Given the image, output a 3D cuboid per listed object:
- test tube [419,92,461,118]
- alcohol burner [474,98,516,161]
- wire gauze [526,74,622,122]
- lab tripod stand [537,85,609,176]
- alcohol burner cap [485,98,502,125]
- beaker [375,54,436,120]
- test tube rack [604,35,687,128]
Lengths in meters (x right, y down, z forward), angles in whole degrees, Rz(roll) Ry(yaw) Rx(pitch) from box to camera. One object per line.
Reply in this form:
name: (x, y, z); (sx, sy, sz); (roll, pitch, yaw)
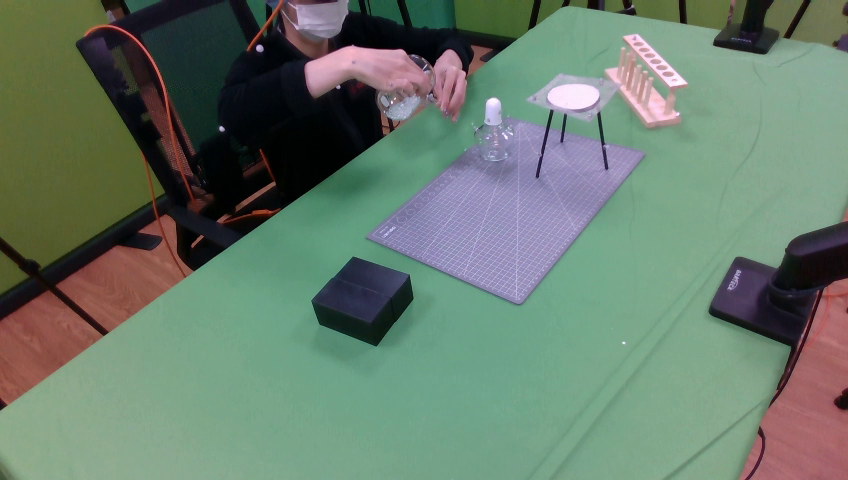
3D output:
test tube: (0.033, -0.255, 1.145); (0.017, 0.017, 0.151); (19, 7, 28)
alcohol burner: (0.131, -0.208, 1.121); (0.078, 0.119, 0.077); (-6, 40, 5)
wire gauze: (0.255, -0.248, 1.030); (0.124, 0.011, 0.122); (24, 51, 32)
lab tripod stand: (0.259, -0.192, 1.068); (0.148, 0.132, 0.147); (-4, 42, 4)
alcohol burner cap: (0.126, -0.234, 1.097); (0.034, 0.048, 0.033); (-3, 39, 3)
beaker: (-0.031, -0.255, 1.027); (0.073, 0.084, 0.100); (2, 42, 31)
test tube rack: (0.447, -0.330, 1.241); (0.067, 0.085, 0.241); (-9, 41, -2)
